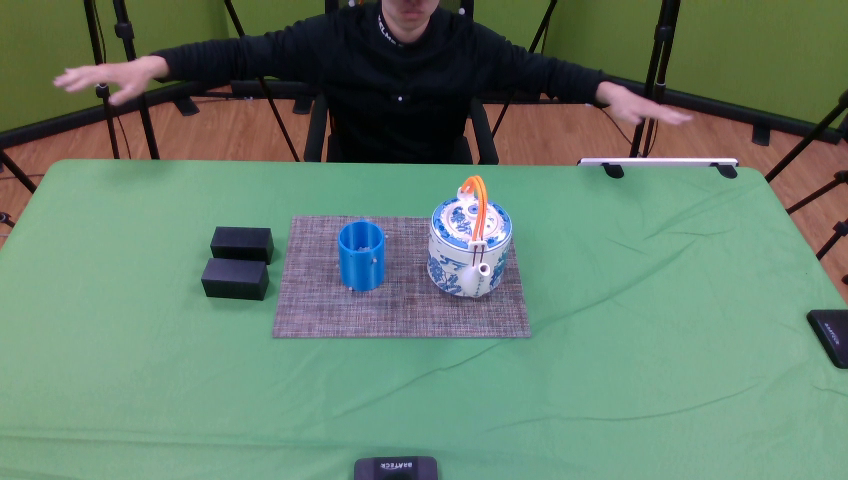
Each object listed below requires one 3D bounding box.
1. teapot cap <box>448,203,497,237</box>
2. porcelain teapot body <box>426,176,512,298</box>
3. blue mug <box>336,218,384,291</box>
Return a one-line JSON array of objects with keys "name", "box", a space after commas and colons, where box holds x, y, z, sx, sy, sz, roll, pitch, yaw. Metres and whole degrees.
[{"name": "teapot cap", "box": [0.084, -0.038, 1.041, 0.085, 0.044, 0.084, 0, 48, 0]}, {"name": "porcelain teapot body", "box": [0.085, 0.009, 1.051, 0.145, 0.226, 0.204, -5, 47, -9]}, {"name": "blue mug", "box": [-0.115, 0.018, 1.110, 0.082, 0.106, 0.116, 1, 46, -3]}]
